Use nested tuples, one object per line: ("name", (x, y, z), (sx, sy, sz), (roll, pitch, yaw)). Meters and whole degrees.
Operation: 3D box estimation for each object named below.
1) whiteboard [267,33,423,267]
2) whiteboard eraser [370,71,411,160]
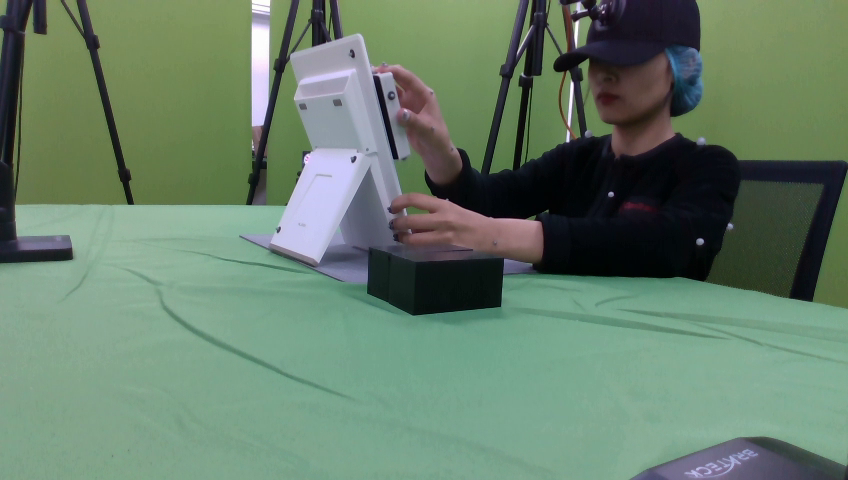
("whiteboard", (-0.153, -0.097, 0.819), (0.144, 0.305, 0.216), (-25, 21, -28))
("whiteboard eraser", (-0.053, -0.161, 0.785), (0.042, 0.113, 0.055), (-27, 27, -26))
